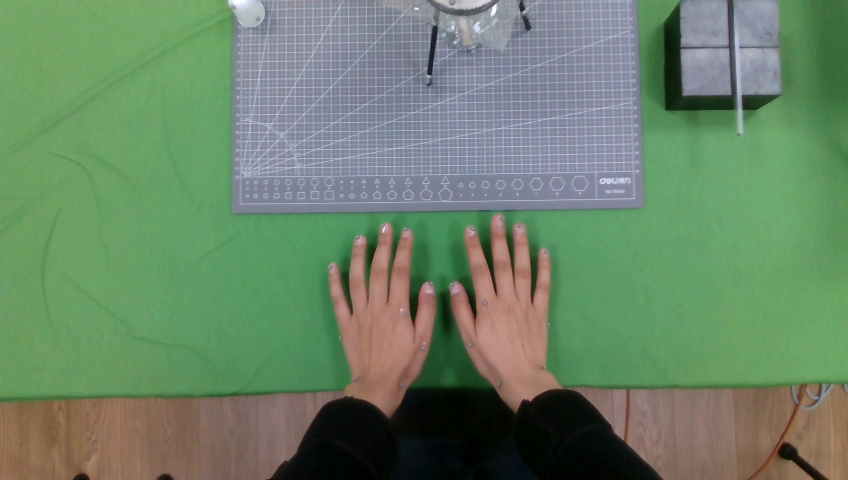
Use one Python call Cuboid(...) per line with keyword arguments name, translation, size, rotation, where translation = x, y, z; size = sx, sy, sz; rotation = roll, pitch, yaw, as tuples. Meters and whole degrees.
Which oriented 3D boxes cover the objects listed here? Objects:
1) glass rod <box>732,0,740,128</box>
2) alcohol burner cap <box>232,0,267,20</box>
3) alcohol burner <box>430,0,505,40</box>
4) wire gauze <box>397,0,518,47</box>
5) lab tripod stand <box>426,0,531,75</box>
Cuboid(name="glass rod", translation=(0.314, -0.211, 0.611), size=(0.008, 0.008, 0.199), rotation=(1, 87, 2))
Cuboid(name="alcohol burner cap", translation=(-0.194, -0.265, 0.659), size=(0.034, 0.048, 0.034), rotation=(0, 86, 3))
Cuboid(name="alcohol burner", translation=(0.045, -0.251, 0.615), size=(0.078, 0.119, 0.078), rotation=(0, 87, 0))
Cuboid(name="wire gauze", translation=(0.036, -0.252, 0.540), size=(0.125, 0.011, 0.121), rotation=(21, 89, 0))
Cuboid(name="lab tripod stand", translation=(0.042, -0.249, 0.605), size=(0.148, 0.132, 0.148), rotation=(0, 85, 1))
